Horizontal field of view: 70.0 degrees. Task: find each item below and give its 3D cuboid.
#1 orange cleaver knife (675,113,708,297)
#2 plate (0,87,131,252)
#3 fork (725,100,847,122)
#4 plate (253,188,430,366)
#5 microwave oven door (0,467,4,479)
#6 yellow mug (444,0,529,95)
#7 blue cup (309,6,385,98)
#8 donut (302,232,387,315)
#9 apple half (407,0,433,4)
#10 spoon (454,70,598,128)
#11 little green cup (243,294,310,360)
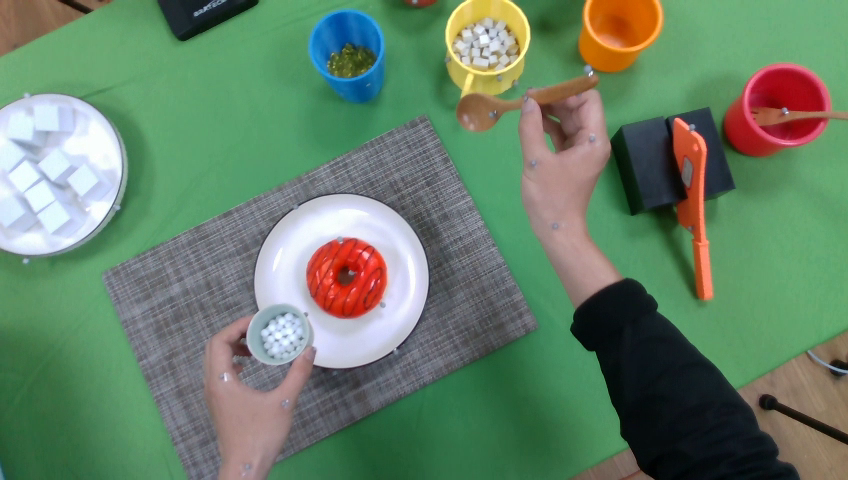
[{"bbox_3d":[0.305,-0.038,0.695,0.012,0.076,0.213,-12,111,3],"label":"orange cleaver knife"},{"bbox_3d":[-0.464,-0.086,0.755,0.207,0.039,0.207,0,82,2],"label":"plate"},{"bbox_3d":[0.443,-0.141,0.672,0.205,0.019,0.028,16,67,47],"label":"fork"},{"bbox_3d":[-0.096,0.043,0.719,0.209,0.038,0.208,0,82,3],"label":"plate"},{"bbox_3d":[-0.489,0.308,0.581,0.039,0.244,0.354,-24,81,-1],"label":"microwave oven door"},{"bbox_3d":[0.069,-0.226,0.739,0.100,0.064,0.130,21,84,4],"label":"yellow mug"},{"bbox_3d":[-0.085,-0.215,0.726,0.092,0.100,0.092,0,84,1],"label":"blue cup"},{"bbox_3d":[-0.092,0.039,0.708,0.099,0.048,0.099,0,83,4],"label":"donut"},{"bbox_3d":[-0.017,-0.333,0.754,0.053,0.075,0.080,-22,85,2],"label":"apple half"},{"bbox_3d":[0.084,-0.126,0.546,0.021,0.192,0.042,-35,109,-20],"label":"spoon"},{"bbox_3d":[-0.143,0.089,0.602,0.061,0.039,0.061,-2,59,3],"label":"little green cup"}]
